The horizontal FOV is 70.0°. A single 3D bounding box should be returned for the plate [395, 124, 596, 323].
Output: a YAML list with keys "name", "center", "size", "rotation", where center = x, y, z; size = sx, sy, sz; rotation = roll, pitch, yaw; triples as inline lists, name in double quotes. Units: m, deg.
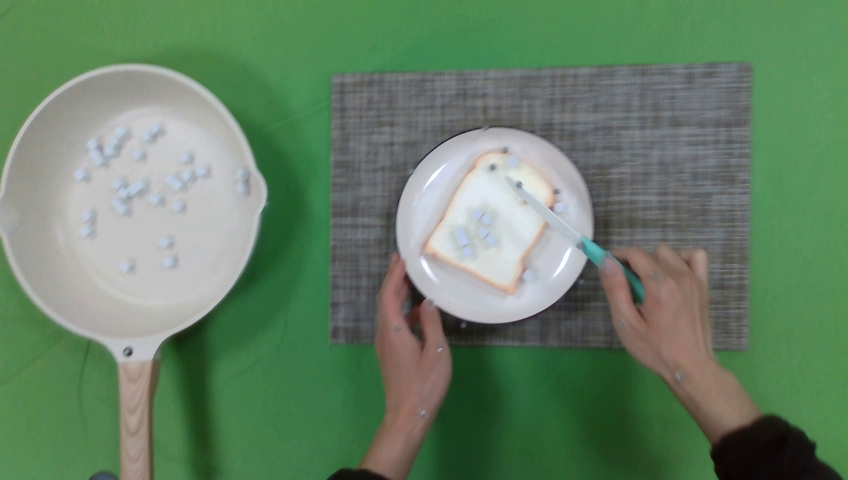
- name: "plate"
  center: [0.074, -0.017, 0.645]
  size: [0.207, 0.039, 0.207]
  rotation: [0, 90, 6]

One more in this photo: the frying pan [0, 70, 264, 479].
- name: "frying pan"
  center: [-0.308, 0.068, 0.653]
  size: [0.306, 0.103, 0.486]
  rotation: [-4, 81, 6]

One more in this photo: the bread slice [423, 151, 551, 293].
- name: "bread slice"
  center: [0.071, -0.026, 0.647]
  size: [0.107, 0.018, 0.134]
  rotation: [23, 93, 4]

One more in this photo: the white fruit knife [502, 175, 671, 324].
- name: "white fruit knife"
  center: [0.152, 0.005, 0.576]
  size: [0.206, 0.027, 0.016]
  rotation: [41, 69, 11]
